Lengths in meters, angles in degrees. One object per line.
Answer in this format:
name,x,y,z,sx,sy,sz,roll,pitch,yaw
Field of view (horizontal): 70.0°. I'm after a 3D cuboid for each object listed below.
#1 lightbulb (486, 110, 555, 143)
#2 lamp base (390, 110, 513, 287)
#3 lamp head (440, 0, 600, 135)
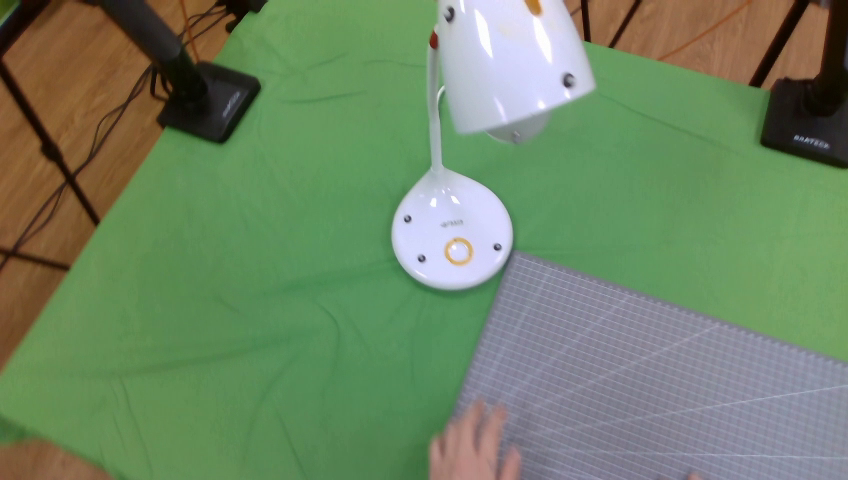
lightbulb,0.063,-0.126,0.451,0.059,0.059,0.108,-17,106,-4
lamp base,0.026,-0.056,0.727,0.161,0.182,0.177,-20,63,-6
lamp head,0.059,-0.150,0.450,0.112,0.112,0.123,-23,101,-7
